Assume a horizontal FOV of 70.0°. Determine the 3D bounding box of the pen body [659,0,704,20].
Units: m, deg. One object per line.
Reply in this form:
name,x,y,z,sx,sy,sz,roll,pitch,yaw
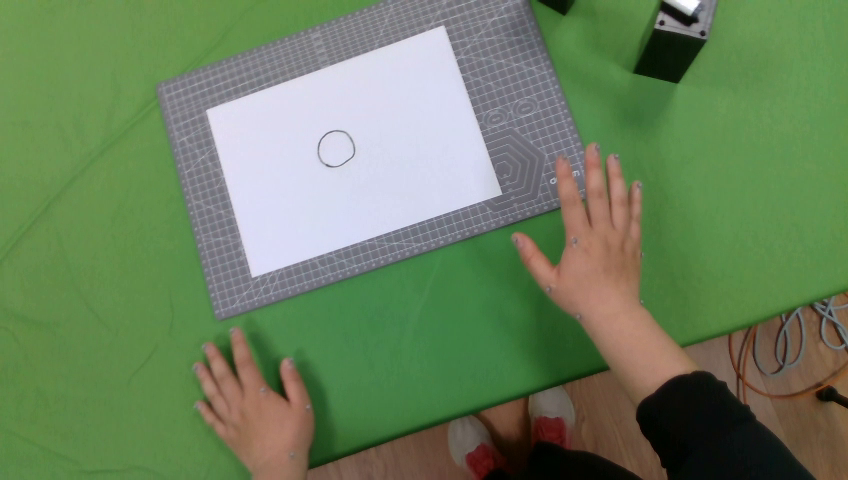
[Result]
pen body,0.198,-0.251,0.573,0.143,0.017,0.017,36,88,10
